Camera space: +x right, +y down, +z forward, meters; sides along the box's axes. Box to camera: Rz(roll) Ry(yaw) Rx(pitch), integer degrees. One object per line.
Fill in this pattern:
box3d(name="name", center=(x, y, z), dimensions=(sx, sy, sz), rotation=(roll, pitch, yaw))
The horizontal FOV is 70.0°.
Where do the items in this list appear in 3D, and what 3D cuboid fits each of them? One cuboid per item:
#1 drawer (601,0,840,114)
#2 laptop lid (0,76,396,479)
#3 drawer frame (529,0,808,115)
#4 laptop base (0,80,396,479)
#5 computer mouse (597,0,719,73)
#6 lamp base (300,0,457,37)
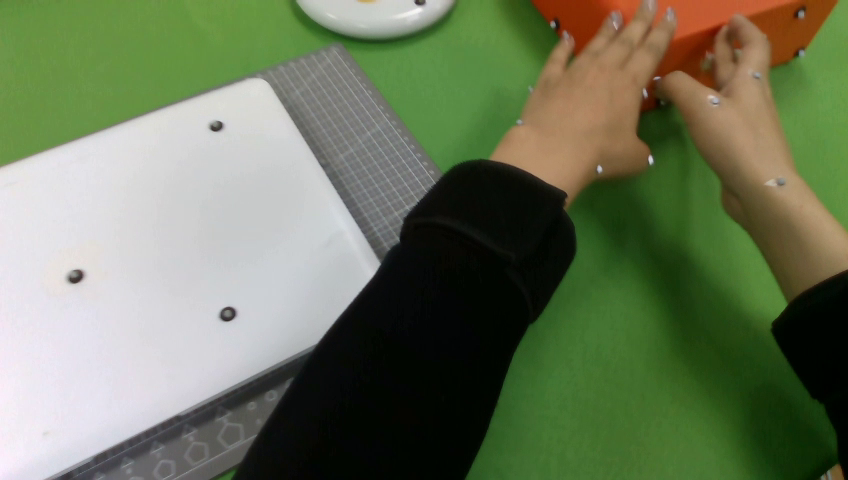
box3d(name="drawer", center=(0.215, -0.229, 0.546), dimensions=(0.195, 0.074, 0.209), rotation=(-21, 59, -13))
box3d(name="laptop lid", center=(-0.224, 0.023, 0.396), dimensions=(0.357, 0.013, 0.239), rotation=(-24, 64, -16))
box3d(name="drawer frame", center=(0.213, -0.232, 0.546), dimensions=(0.202, 0.083, 0.211), rotation=(-21, 60, -13))
box3d(name="laptop base", center=(-0.225, 0.027, 0.407), dimensions=(0.355, 0.023, 0.233), rotation=(-25, 65, -17))
box3d(name="computer mouse", center=(0.209, -0.200, 0.543), dimensions=(0.063, 0.041, 0.116), rotation=(-18, 59, -15))
box3d(name="lamp base", center=(-0.042, -0.303, 0.525), dimensions=(0.160, 0.182, 0.177), rotation=(4, 55, 1))
